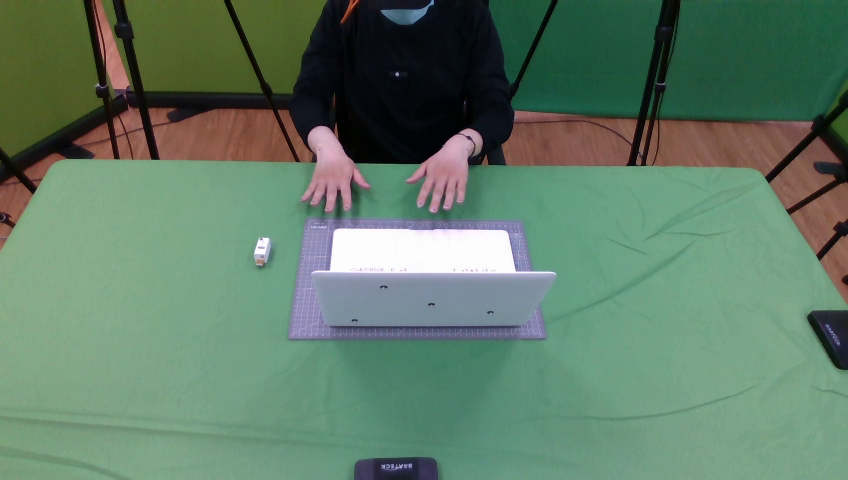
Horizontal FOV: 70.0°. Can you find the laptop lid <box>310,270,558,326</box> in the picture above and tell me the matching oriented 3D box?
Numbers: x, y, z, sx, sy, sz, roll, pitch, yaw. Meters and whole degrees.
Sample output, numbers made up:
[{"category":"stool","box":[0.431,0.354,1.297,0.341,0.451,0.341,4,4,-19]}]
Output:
[{"category":"laptop lid","box":[0.011,0.095,0.948,0.357,0.242,0.013,1,64,-5]}]

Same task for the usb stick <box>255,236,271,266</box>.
[{"category":"usb stick","box":[-0.306,0.022,1.148,0.021,0.027,0.059,3,50,-2]}]

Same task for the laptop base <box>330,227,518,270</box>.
[{"category":"laptop base","box":[0.001,0.063,1.134,0.354,0.023,0.234,0,43,-3]}]
